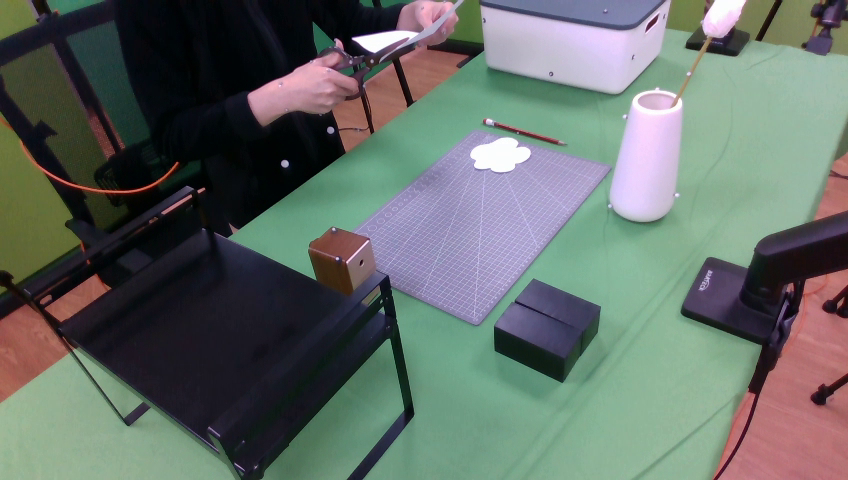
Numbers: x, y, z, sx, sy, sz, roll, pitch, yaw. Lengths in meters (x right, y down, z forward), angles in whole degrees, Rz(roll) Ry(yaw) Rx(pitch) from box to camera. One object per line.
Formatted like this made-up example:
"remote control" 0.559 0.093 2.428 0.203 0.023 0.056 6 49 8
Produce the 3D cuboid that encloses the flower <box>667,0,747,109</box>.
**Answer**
"flower" 0.354 -0.187 0.879 0.038 0.362 0.044 31 48 14

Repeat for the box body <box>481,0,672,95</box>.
"box body" 0.341 -0.480 1.381 0.361 0.161 0.255 22 48 30

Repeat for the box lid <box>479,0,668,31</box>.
"box lid" 0.335 -0.536 1.331 0.368 0.015 0.264 23 49 30

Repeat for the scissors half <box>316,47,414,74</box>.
"scissors half" -0.093 -0.279 0.919 0.174 0.040 0.013 1 43 25

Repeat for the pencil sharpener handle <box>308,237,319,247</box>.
"pencil sharpener handle" -0.158 0.017 0.892 0.030 0.068 0.036 18 62 28

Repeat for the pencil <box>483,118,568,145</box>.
"pencil" 0.202 -0.217 1.212 0.192 0.012 0.012 24 49 29

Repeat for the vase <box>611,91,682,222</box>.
"vase" 0.348 -0.125 0.935 0.098 0.201 0.097 -3 40 3

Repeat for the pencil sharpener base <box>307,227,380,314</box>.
"pencil sharpener base" -0.116 0.043 0.875 0.076 0.107 0.061 18 47 27

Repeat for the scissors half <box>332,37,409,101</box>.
"scissors half" -0.082 -0.262 0.929 0.174 0.040 0.013 -29 21 41
